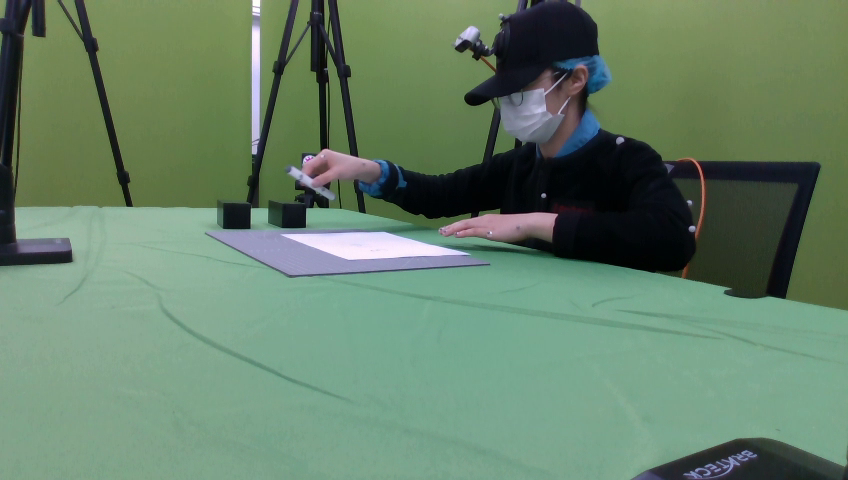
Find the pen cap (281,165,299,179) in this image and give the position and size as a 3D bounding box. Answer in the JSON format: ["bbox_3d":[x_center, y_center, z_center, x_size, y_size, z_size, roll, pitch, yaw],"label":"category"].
[{"bbox_3d":[-0.249,-0.127,1.127,0.017,0.017,0.038,6,-14,30],"label":"pen cap"}]

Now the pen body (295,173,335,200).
[{"bbox_3d":[-0.221,-0.108,1.181,0.017,0.017,0.145,6,-14,29],"label":"pen body"}]
